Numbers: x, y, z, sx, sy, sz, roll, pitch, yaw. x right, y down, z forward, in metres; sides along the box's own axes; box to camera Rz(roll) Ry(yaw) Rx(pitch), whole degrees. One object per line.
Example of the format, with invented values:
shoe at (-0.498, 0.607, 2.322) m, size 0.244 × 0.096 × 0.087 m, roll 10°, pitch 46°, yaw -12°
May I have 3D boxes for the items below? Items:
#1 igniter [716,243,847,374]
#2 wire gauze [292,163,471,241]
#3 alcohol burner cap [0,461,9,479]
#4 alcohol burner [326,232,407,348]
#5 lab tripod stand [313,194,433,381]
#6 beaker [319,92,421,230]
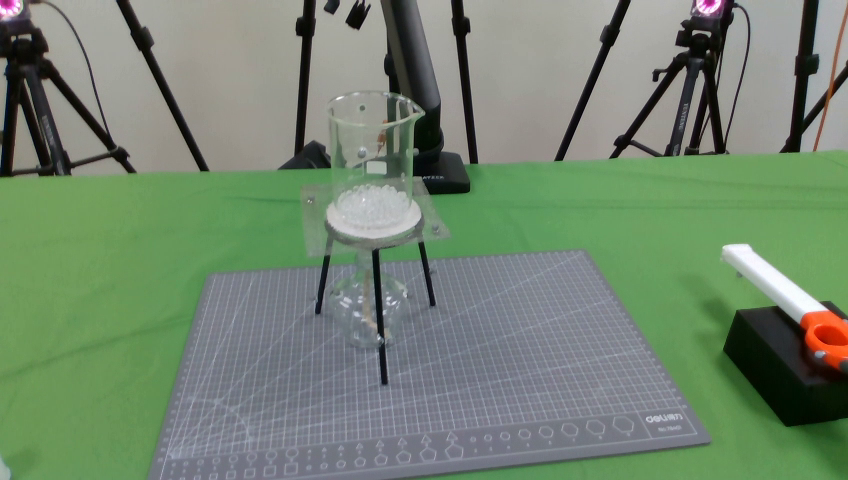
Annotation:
igniter at (0.352, 0.076, 0.540) m, size 0.057 × 0.025 × 0.273 m, roll -4°, pitch 29°, yaw -8°
wire gauze at (-0.040, -0.035, 0.533) m, size 0.125 × 0.011 × 0.120 m, roll -14°, pitch 33°, yaw -31°
alcohol burner cap at (-0.333, 0.165, 0.446) m, size 0.034 × 0.048 × 0.033 m, roll 2°, pitch 30°, yaw -1°
alcohol burner at (-0.055, 0.044, 0.580) m, size 0.078 × 0.120 × 0.077 m, roll 3°, pitch 31°, yaw -1°
lab tripod stand at (-0.046, 0.036, 0.573) m, size 0.148 × 0.132 × 0.147 m, roll 2°, pitch 33°, yaw -1°
beaker at (-0.045, -0.067, 0.521) m, size 0.084 × 0.101 × 0.073 m, roll -5°, pitch 36°, yaw -10°
